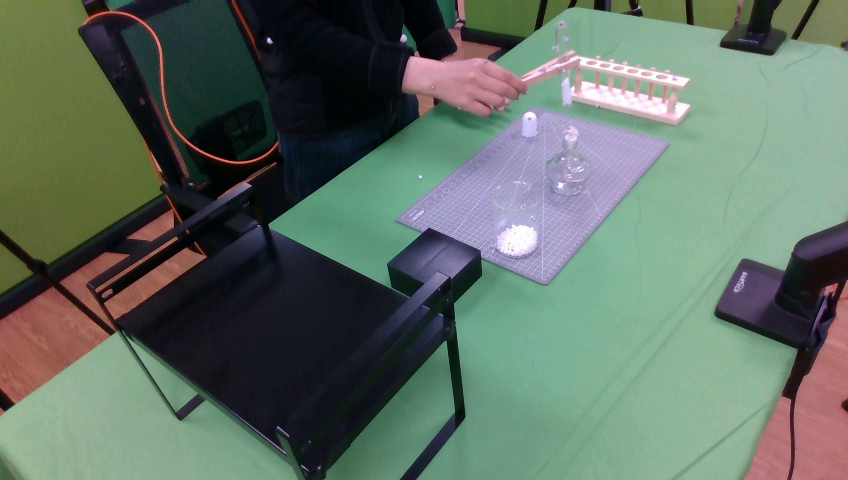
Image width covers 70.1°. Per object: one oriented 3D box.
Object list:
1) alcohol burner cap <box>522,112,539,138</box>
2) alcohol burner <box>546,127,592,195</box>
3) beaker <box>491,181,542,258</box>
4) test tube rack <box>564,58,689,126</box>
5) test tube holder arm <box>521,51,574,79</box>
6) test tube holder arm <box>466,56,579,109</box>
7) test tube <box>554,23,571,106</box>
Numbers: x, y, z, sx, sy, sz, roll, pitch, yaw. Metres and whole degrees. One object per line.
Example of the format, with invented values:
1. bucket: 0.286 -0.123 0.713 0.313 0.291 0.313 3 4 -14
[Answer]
1. alcohol burner cap: 0.210 -0.230 1.195 0.034 0.048 0.033 -6 41 6
2. alcohol burner: 0.246 -0.137 1.024 0.078 0.119 0.077 -4 38 4
3. beaker: 0.144 -0.030 0.925 0.073 0.100 0.084 23 48 31
4. test tube rack: 0.411 -0.311 1.230 0.240 0.085 0.067 24 49 32
5. test tube holder arm: 0.186 -0.259 0.911 0.088 0.015 0.010 -29 50 -6
6. test tube holder arm: 0.148 -0.236 0.906 0.178 0.015 0.013 -23 49 -1
7. test tube: 0.210 -0.261 0.915 0.017 0.151 0.017 -9 52 12
